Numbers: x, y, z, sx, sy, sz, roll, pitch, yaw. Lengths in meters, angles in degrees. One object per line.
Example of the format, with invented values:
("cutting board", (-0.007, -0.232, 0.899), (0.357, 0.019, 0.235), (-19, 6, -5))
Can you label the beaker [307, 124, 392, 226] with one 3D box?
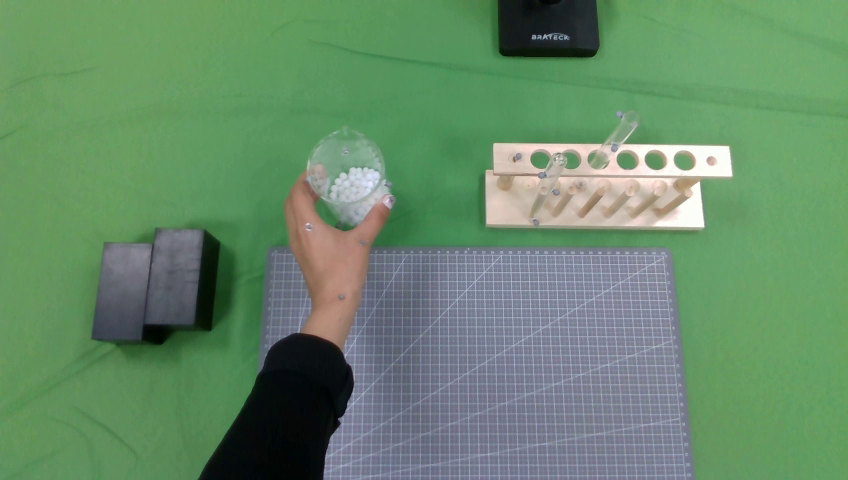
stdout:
("beaker", (-0.071, -0.061, 0.615), (0.074, 0.101, 0.083), (-4, 76, 1))

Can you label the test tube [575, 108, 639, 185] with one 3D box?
("test tube", (0.180, -0.089, 0.611), (0.017, 0.151, 0.017), (1, 72, -3))

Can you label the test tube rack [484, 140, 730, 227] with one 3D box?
("test tube rack", (0.191, -0.059, 0.654), (0.242, 0.085, 0.066), (1, 75, -1))

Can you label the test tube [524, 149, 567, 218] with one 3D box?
("test tube", (0.120, -0.053, 0.606), (0.017, 0.151, 0.017), (0, 72, 0))
